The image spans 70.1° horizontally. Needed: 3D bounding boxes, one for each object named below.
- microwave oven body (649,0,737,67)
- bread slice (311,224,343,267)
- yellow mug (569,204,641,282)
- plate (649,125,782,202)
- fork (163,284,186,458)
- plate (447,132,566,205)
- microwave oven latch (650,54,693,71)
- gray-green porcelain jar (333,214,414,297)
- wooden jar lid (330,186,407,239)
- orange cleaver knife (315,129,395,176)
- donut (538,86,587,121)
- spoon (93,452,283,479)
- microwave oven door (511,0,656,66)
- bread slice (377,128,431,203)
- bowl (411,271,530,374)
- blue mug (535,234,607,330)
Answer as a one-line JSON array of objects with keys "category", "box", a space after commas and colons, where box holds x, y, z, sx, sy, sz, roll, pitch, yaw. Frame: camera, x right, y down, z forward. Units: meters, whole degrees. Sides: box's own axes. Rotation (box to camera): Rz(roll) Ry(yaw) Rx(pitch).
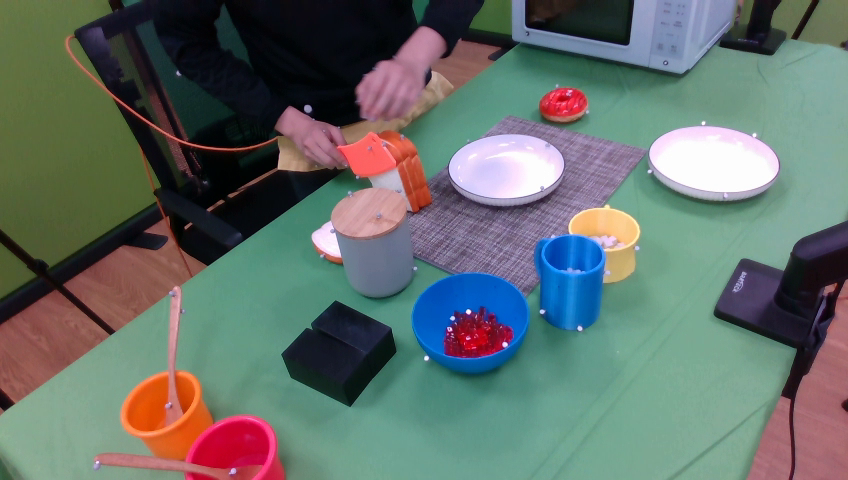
[{"category": "microwave oven body", "box": [0.475, -0.602, 1.411, 0.438, 0.261, 0.327, 23, 50, 32]}, {"category": "bread slice", "box": [-0.123, 0.003, 1.009, 0.104, 0.019, 0.132, 36, 37, 29]}, {"category": "yellow mug", "box": [0.268, -0.005, 0.904, 0.099, 0.064, 0.130, 7, 41, 15]}, {"category": "plate", "box": [0.493, -0.127, 1.036, 0.207, 0.039, 0.206, -4, 41, 4]}, {"category": "fork", "box": [-0.302, 0.157, 0.733, 0.028, 0.019, 0.207, -3, 84, 15]}, {"category": "plate", "box": [0.146, -0.124, 1.076, 0.209, 0.038, 0.208, -4, 41, 4]}, {"category": "microwave oven latch", "box": [0.531, -0.386, 1.301, 0.078, 0.029, 0.030, 26, 51, 33]}, {"category": "gray-green porcelain jar", "box": [-0.071, 0.012, 0.887, 0.106, 0.127, 0.105, -4, 41, 4]}, {"category": "wooden jar lid", "box": [-0.077, -0.035, 0.847, 0.108, 0.021, 0.108, -6, 42, 5]}, {"category": "orange cleaver knife", "box": [-0.121, -0.144, 1.036, 0.012, 0.077, 0.209, -41, 25, -31]}, {"category": "donut", "box": [0.283, -0.280, 1.239, 0.099, 0.048, 0.098, -5, 42, 5]}, {"category": "spoon", "box": [-0.240, 0.239, 0.632, 0.195, 0.021, 0.041, 26, 33, -32]}, {"category": "microwave oven door", "box": [0.351, -0.539, 1.349, 0.353, 0.245, 0.039, 24, 50, 31]}, {"category": "bread slice", "box": [-0.039, -0.129, 1.041, 0.106, 0.135, 0.018, 30, 57, 34]}, {"category": "bowl", "box": [0.061, 0.120, 0.780, 0.151, 0.077, 0.150, -4, 40, 4]}, {"category": "blue mug", "box": [0.191, 0.048, 0.824, 0.082, 0.106, 0.115, -26, 44, -20]}]
